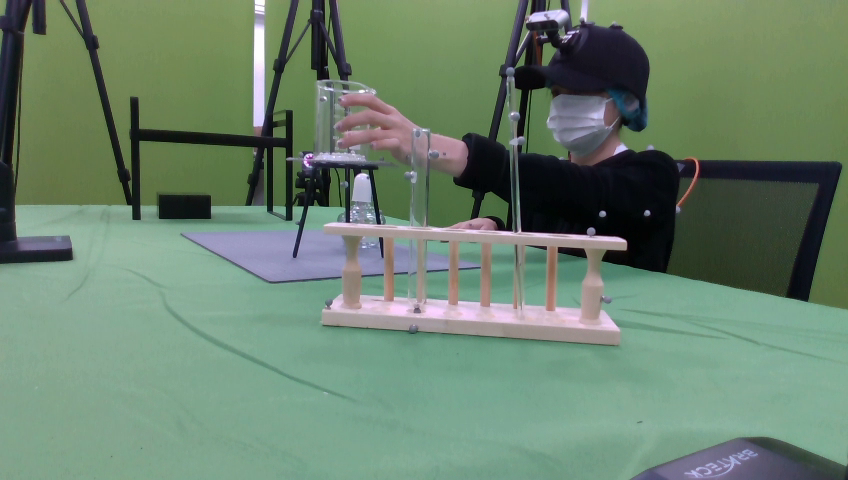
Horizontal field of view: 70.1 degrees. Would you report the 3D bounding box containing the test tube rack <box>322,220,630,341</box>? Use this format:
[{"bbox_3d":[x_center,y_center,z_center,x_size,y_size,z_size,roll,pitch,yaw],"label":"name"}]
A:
[{"bbox_3d":[0.041,0.029,0.512,0.242,0.085,0.067,3,7,5],"label":"test tube rack"}]

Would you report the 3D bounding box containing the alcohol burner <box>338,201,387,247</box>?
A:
[{"bbox_3d":[-0.098,-0.049,0.954,0.078,0.119,0.078,0,6,0],"label":"alcohol burner"}]

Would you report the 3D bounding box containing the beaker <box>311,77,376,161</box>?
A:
[{"bbox_3d":[-0.104,-0.151,0.777,0.084,0.100,0.074,4,6,13],"label":"beaker"}]

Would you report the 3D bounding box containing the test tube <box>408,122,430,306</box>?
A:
[{"bbox_3d":[-0.004,-0.019,0.489,0.017,0.150,0.017,1,11,0],"label":"test tube"}]

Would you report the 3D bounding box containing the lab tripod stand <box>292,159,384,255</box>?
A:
[{"bbox_3d":[-0.105,-0.039,0.798,0.148,0.131,0.148,2,5,0],"label":"lab tripod stand"}]

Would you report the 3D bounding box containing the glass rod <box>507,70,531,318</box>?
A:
[{"bbox_3d":[0.076,-0.031,0.476,0.008,0.199,0.008,-6,12,2],"label":"glass rod"}]

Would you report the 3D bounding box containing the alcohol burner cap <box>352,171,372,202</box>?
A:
[{"bbox_3d":[-0.096,-0.084,0.951,0.034,0.048,0.034,5,5,0],"label":"alcohol burner cap"}]

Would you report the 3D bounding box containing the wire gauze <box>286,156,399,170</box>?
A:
[{"bbox_3d":[-0.101,-0.103,0.788,0.121,0.011,0.125,5,4,6],"label":"wire gauze"}]
